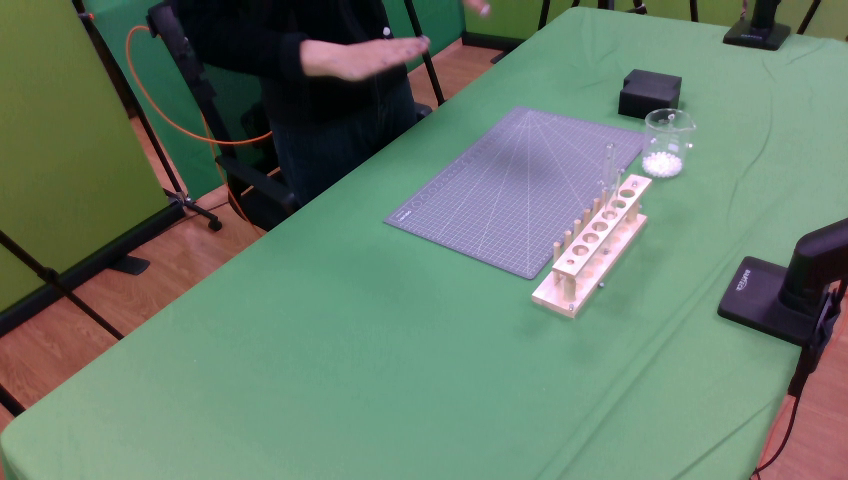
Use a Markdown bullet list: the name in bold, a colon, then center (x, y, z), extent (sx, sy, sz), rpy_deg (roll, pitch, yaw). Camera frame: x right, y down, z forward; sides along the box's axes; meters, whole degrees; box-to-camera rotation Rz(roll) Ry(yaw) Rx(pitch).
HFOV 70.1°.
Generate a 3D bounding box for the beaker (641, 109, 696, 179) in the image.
- **beaker**: center (0.415, -0.161, 1.035), extent (0.083, 0.101, 0.074), rpy_deg (19, 48, 29)

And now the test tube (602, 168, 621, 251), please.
- **test tube**: center (0.264, -0.039, 0.854), extent (0.017, 0.151, 0.017), rpy_deg (-5, 44, 6)

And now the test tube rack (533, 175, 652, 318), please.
- **test tube rack**: center (0.250, -0.001, 0.889), extent (0.066, 0.085, 0.243), rpy_deg (22, 49, 33)

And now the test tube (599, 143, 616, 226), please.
- **test tube**: center (0.273, -0.081, 0.909), extent (0.017, 0.151, 0.017), rpy_deg (-4, 42, 4)
